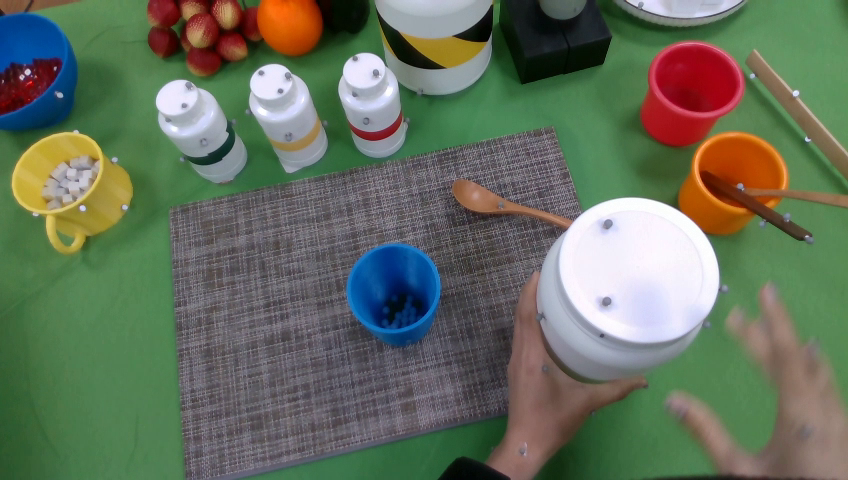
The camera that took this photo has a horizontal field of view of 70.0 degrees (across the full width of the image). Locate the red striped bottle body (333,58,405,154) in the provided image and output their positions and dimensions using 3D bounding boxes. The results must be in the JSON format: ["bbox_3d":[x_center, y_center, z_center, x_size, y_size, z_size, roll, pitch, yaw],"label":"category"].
[{"bbox_3d":[-0.060,-0.149,0.658,0.063,0.120,0.062,-3,67,7],"label":"red striped bottle body"}]

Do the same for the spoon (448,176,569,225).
[{"bbox_3d":[0.117,-0.030,0.650,0.193,0.022,0.041,17,45,9],"label":"spoon"}]

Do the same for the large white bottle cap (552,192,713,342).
[{"bbox_3d":[0.154,0.018,0.448,0.115,0.018,0.114,-1,68,2],"label":"large white bottle cap"}]

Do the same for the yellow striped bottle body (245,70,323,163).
[{"bbox_3d":[-0.153,-0.139,0.658,0.063,0.121,0.062,-1,68,4],"label":"yellow striped bottle body"}]

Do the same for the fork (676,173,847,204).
[{"bbox_3d":[0.337,-0.047,0.581,0.028,0.019,0.205,-51,30,-14],"label":"fork"}]

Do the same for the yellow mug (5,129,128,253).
[{"bbox_3d":[-0.393,-0.050,0.665,0.100,0.064,0.130,-3,69,1],"label":"yellow mug"}]

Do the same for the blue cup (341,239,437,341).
[{"bbox_3d":[-0.029,0.057,0.582,0.092,0.101,0.092,-1,68,2],"label":"blue cup"}]

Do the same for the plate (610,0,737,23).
[{"bbox_3d":[0.306,-0.353,0.761,0.209,0.038,0.207,-1,69,3],"label":"plate"}]

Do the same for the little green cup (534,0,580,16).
[{"bbox_3d":[0.153,-0.289,0.690,0.061,0.039,0.061,-1,67,2],"label":"little green cup"}]

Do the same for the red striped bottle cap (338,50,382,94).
[{"bbox_3d":[-0.064,-0.169,0.609,0.044,0.018,0.044,0,66,0],"label":"red striped bottle cap"}]

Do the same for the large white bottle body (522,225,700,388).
[{"bbox_3d":[0.159,0.051,0.528,0.130,0.186,0.129,-1,68,3],"label":"large white bottle body"}]

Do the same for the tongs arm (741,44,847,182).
[{"bbox_3d":[0.476,-0.071,0.643,0.051,0.027,0.382,-24,70,-8],"label":"tongs arm"}]

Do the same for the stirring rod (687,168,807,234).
[{"bbox_3d":[0.306,-0.042,0.588,0.014,0.006,0.174,-11,25,-4],"label":"stirring rod"}]

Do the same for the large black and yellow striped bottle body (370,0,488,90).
[{"bbox_3d":[0.006,-0.269,0.666,0.131,0.185,0.130,-1,68,3],"label":"large black and yellow striped bottle body"}]

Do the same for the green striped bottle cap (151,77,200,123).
[{"bbox_3d":[-0.250,-0.141,0.609,0.044,0.020,0.044,-1,67,2],"label":"green striped bottle cap"}]

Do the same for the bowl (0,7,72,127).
[{"bbox_3d":[-0.481,-0.189,0.718,0.151,0.077,0.150,-1,69,2],"label":"bowl"}]

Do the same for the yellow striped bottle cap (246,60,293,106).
[{"bbox_3d":[-0.156,-0.158,0.611,0.044,0.019,0.044,-1,70,2],"label":"yellow striped bottle cap"}]

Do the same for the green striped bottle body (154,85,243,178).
[{"bbox_3d":[-0.246,-0.122,0.657,0.063,0.120,0.062,-1,68,3],"label":"green striped bottle body"}]
